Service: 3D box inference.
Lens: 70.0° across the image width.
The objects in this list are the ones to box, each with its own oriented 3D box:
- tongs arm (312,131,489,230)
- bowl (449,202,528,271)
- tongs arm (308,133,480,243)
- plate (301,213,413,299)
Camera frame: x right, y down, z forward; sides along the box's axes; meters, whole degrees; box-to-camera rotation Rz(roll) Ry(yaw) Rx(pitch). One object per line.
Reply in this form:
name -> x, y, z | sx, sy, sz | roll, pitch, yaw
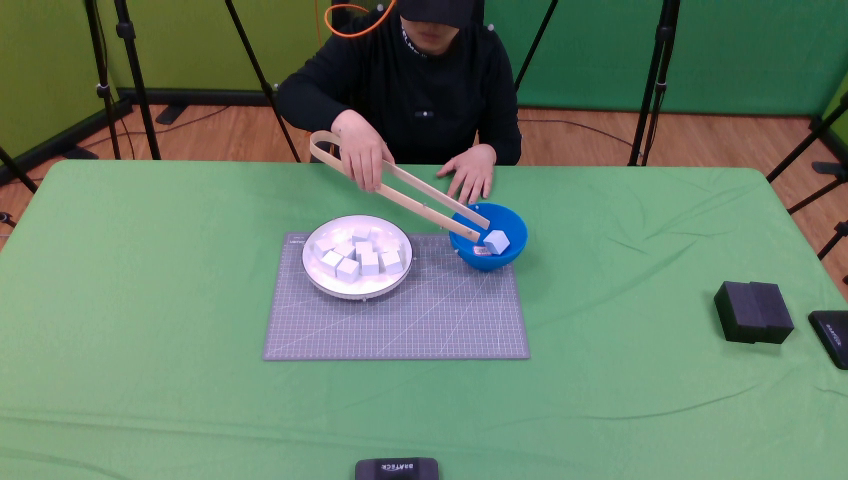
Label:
tongs arm -> -0.048, -0.117, 1.163 | 0.387, 0.028, 0.028 | 29, 53, 10
bowl -> 0.118, 0.006, 1.160 | 0.151, 0.077, 0.150 | 2, 46, -2
tongs arm -> -0.061, -0.101, 1.146 | 0.384, 0.026, 0.050 | 27, 49, 8
plate -> -0.124, 0.033, 1.143 | 0.208, 0.039, 0.206 | 2, 46, -2
